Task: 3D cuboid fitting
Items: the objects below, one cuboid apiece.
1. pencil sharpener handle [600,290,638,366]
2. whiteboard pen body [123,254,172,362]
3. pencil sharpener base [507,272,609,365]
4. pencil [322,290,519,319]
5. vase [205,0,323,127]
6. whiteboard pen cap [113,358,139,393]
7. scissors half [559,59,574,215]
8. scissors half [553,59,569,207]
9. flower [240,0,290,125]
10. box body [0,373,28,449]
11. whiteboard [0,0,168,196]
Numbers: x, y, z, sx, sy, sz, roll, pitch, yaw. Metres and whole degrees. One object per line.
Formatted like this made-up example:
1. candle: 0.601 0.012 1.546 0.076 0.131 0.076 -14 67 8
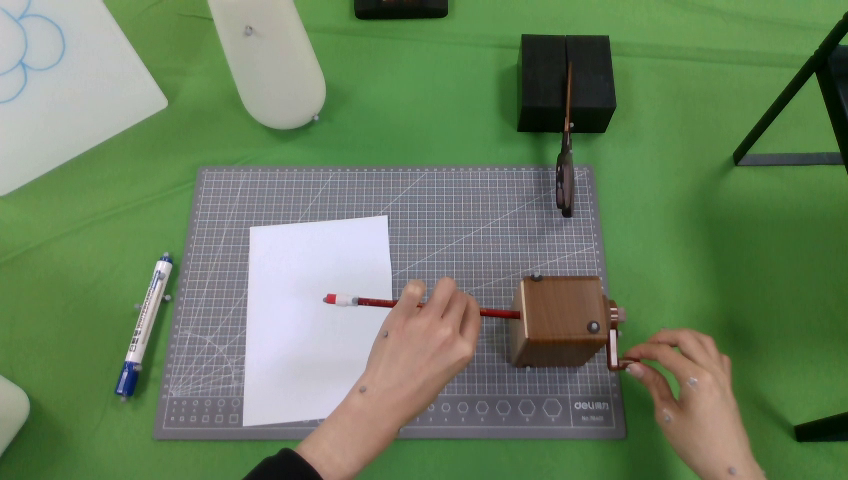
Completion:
1. pencil sharpener handle: 0.172 0.078 0.537 0.030 0.036 0.067 -1 90 0
2. whiteboard pen body: -0.284 0.079 0.617 0.017 0.017 0.140 6 65 4
3. pencil sharpener base: 0.121 0.075 0.562 0.077 0.108 0.061 -1 66 0
4. pencil: 0.007 0.059 0.536 0.194 0.012 0.012 6 67 -1
5. vase: -0.169 -0.208 0.640 0.098 0.201 0.097 -1 65 2
6. whiteboard pen cap: -0.290 0.132 0.592 0.018 0.018 0.033 6 62 4
7. scissors half: 0.156 -0.114 0.661 0.012 0.040 0.175 -1 86 26
8. scissors half: 0.148 -0.118 0.643 0.013 0.040 0.174 0 68 21
9. flower: -0.178 -0.254 0.569 0.044 0.365 0.038 -7 49 2
10. box body: -0.579 0.150 0.513 0.363 0.161 0.253 25 70 11
11. whiteboard: -0.463 -0.240 0.633 0.217 0.309 0.142 -33 51 -12
